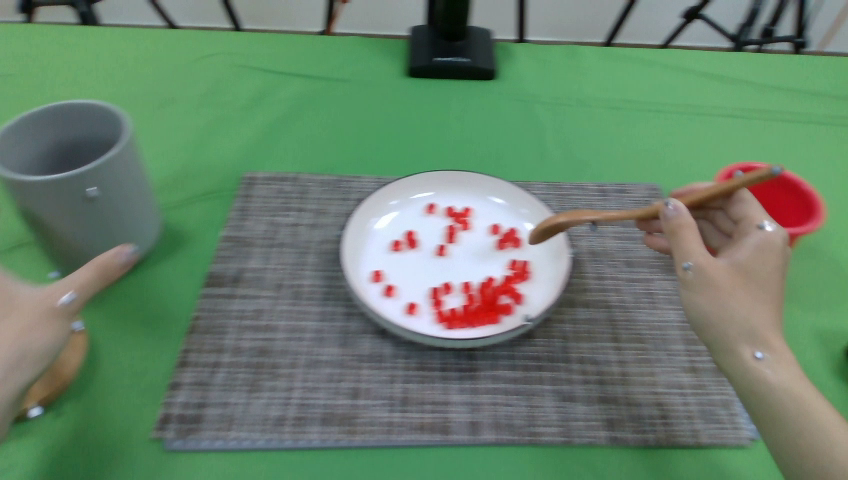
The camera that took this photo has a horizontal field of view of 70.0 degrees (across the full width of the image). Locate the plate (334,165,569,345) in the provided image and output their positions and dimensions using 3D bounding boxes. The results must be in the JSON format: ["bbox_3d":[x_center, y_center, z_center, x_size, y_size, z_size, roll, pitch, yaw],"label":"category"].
[{"bbox_3d":[0.024,0.012,0.551,0.208,0.039,0.205,2,47,-2],"label":"plate"}]

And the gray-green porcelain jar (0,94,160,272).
[{"bbox_3d":[-0.296,-0.043,0.525,0.106,0.127,0.105,2,47,-2],"label":"gray-green porcelain jar"}]

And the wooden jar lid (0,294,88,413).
[{"bbox_3d":[-0.320,0.089,0.473,0.108,0.021,0.107,3,47,-3],"label":"wooden jar lid"}]

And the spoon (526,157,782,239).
[{"bbox_3d":[0.159,-0.027,0.449,0.042,0.193,0.021,4,77,-48],"label":"spoon"}]
